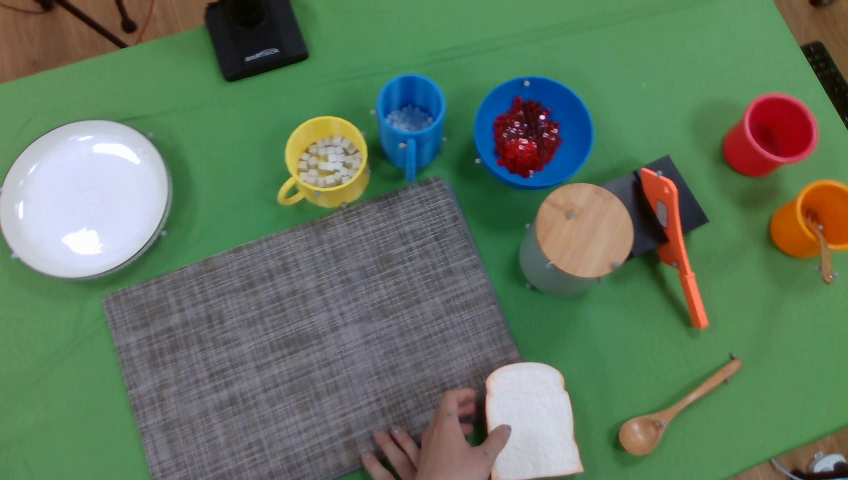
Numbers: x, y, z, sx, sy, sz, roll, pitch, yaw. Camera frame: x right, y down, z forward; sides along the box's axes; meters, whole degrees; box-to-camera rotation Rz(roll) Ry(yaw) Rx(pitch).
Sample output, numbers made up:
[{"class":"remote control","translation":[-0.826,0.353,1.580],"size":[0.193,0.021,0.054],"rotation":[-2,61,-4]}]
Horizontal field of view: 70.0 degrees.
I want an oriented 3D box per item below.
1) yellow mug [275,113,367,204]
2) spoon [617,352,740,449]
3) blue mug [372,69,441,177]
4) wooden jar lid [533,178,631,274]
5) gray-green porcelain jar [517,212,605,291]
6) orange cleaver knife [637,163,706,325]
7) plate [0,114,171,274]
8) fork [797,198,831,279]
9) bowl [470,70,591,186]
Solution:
[{"class":"yellow mug","translation":[-0.136,-0.093,0.768],"size":[0.131,0.064,0.099],"rotation":[-42,80,-10]},{"class":"spoon","translation":[0.314,0.191,0.736],"size":[0.194,0.022,0.041],"rotation":[-31,60,-10]},{"class":"blue mug","translation":[-0.022,-0.137,0.764],"size":[0.082,0.106,0.116],"rotation":[0,75,-2]},{"class":"wooden jar lid","translation":[0.172,-0.015,0.665],"size":[0.108,0.021,0.108],"rotation":[1,77,-5]},{"class":"gray-green porcelain jar","translation":[0.170,0.002,0.726],"size":[0.106,0.127,0.105],"rotation":[1,75,-2]},{"class":"orange cleaver knife","translation":[0.306,0.005,0.753],"size":[0.012,0.077,0.212],"rotation":[-22,104,-7]},{"class":"plate","translation":[-0.421,-0.056,0.761],"size":[0.208,0.039,0.206],"rotation":[1,75,-2]},{"class":"fork","translation":[0.470,-0.005,0.728],"size":[0.028,0.019,0.207],"rotation":[42,34,1]},{"class":"bowl","translation":[0.131,-0.132,0.784],"size":[0.151,0.077,0.150],"rotation":[1,76,-2]}]
